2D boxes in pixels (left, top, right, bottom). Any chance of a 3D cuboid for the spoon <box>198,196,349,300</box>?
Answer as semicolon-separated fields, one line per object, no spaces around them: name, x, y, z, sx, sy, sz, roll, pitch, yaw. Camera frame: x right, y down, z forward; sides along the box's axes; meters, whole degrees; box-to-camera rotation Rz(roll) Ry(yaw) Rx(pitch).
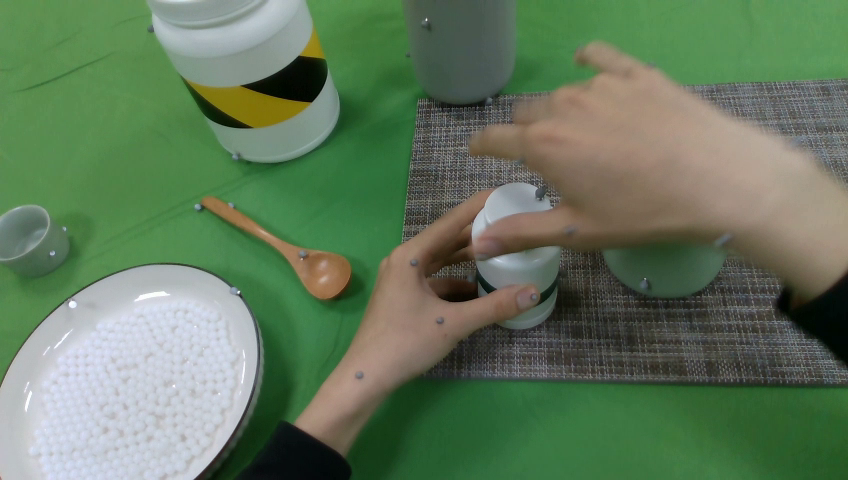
spoon;-0.139;-0.001;0.541;0.192;0.022;0.041;29;85;23

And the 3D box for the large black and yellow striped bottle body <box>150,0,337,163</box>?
large black and yellow striped bottle body;-0.165;-0.175;0.559;0.130;0.186;0.129;-4;57;6

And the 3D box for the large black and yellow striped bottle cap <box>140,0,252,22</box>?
large black and yellow striped bottle cap;-0.177;-0.219;0.489;0.115;0.019;0.114;-3;56;5

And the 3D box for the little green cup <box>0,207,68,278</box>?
little green cup;-0.366;0.004;0.561;0.061;0.039;0.061;-3;57;5

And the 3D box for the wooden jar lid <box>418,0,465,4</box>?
wooden jar lid;0.024;-0.243;0.533;0.108;0.021;0.107;-6;55;8

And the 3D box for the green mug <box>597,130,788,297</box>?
green mug;0.196;-0.015;0.447;0.125;0.106;0.092;8;58;13

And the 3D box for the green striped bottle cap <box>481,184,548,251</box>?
green striped bottle cap;0.059;-0.015;0.395;0.044;0.020;0.044;-5;54;7

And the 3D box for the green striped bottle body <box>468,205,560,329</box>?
green striped bottle body;0.065;0.012;0.439;0.063;0.120;0.062;-4;57;7

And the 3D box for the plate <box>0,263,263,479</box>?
plate;-0.222;0.115;0.469;0.209;0.038;0.207;-3;57;6

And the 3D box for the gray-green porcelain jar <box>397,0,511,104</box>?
gray-green porcelain jar;0.031;-0.205;0.583;0.106;0.128;0.105;-4;53;5
